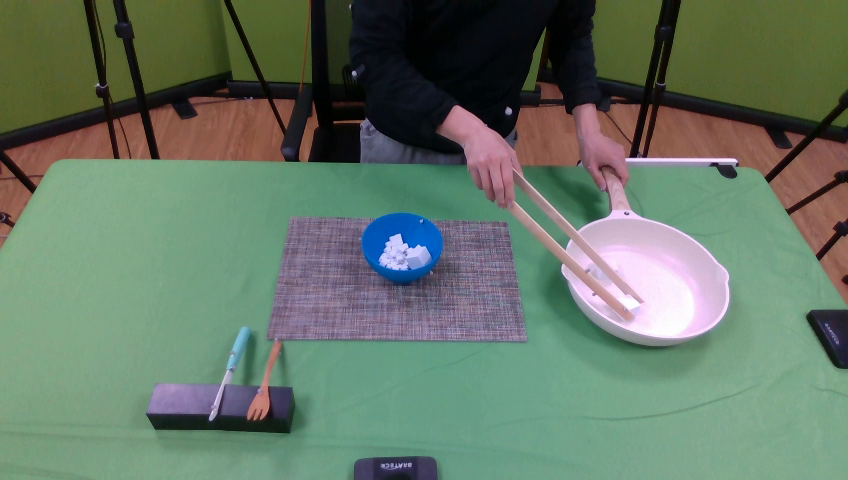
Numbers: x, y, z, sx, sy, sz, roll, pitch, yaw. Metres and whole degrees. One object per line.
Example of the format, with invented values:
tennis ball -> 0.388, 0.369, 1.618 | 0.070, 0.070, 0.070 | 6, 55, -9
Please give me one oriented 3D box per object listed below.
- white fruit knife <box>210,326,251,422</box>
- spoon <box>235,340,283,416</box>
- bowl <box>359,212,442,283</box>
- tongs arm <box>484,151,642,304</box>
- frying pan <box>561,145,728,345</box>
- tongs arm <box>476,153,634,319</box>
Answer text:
white fruit knife -> -0.300, 0.201, 0.942 | 0.016, 0.027, 0.206 | -3, 32, 1
spoon -> -0.245, 0.207, 0.932 | 0.042, 0.021, 0.193 | 30, 24, -9
bowl -> -0.044, 0.026, 1.125 | 0.151, 0.077, 0.150 | 2, 46, -2
tongs arm -> 0.250, -0.022, 1.092 | 0.387, 0.028, 0.028 | 45, 62, -1
frying pan -> 0.397, -0.008, 1.179 | 0.307, 0.103, 0.485 | 2, 54, -4
tongs arm -> 0.233, -0.007, 1.077 | 0.385, 0.026, 0.050 | 42, 58, -3
